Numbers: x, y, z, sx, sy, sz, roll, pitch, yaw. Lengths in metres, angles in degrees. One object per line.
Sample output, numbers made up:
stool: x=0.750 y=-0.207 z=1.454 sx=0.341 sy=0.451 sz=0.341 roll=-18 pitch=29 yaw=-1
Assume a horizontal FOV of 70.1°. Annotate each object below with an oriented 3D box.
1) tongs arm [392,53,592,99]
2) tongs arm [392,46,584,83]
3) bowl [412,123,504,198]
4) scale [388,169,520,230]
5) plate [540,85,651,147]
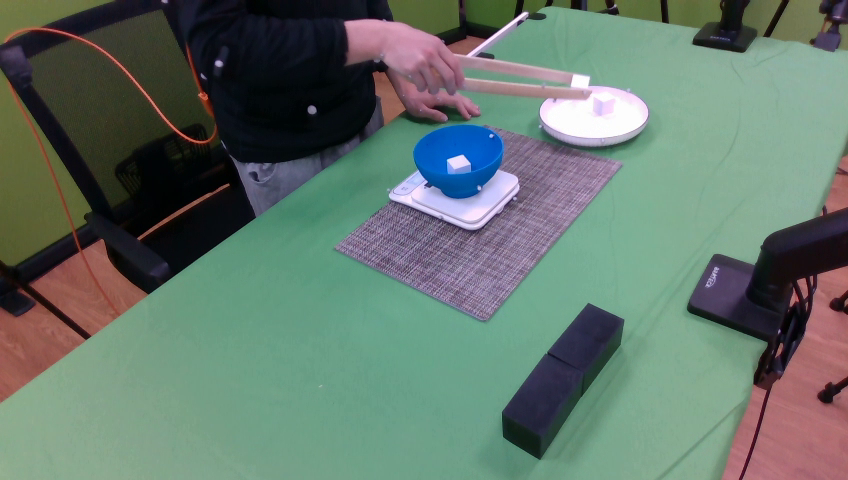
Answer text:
tongs arm: x=0.130 y=-0.278 z=1.043 sx=0.388 sy=0.026 sz=0.050 roll=-4 pitch=61 yaw=-28
tongs arm: x=0.124 y=-0.302 z=1.056 sx=0.390 sy=0.027 sz=0.028 roll=-1 pitch=63 yaw=-27
bowl: x=0.059 y=-0.123 z=1.007 sx=0.151 sy=0.077 sz=0.150 roll=-5 pitch=41 yaw=5
scale: x=0.050 y=-0.090 z=1.051 sx=0.199 sy=0.032 sz=0.149 roll=24 pitch=49 yaw=31
plate: x=0.333 y=-0.239 z=1.186 sx=0.207 sy=0.039 sz=0.206 roll=-4 pitch=41 yaw=4
